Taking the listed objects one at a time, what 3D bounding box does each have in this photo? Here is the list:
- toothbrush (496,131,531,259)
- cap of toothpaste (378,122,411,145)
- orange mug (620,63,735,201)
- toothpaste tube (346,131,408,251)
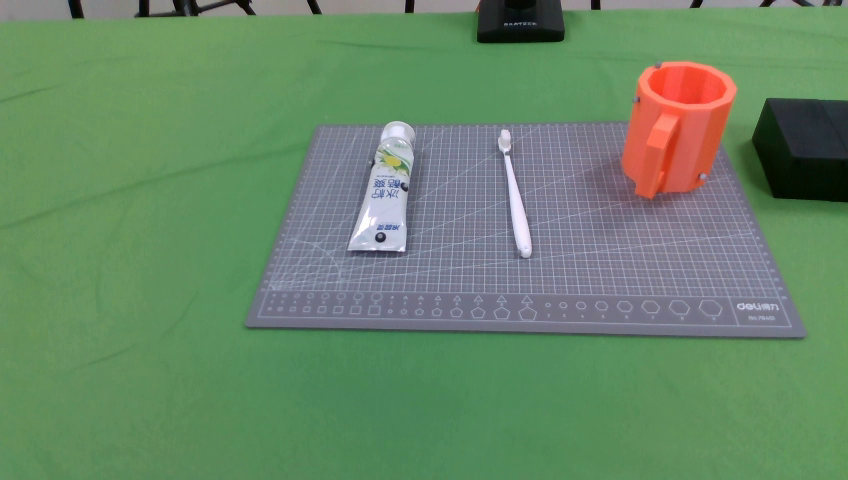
[{"bbox_3d":[0.089,-0.051,0.600,0.014,0.017,0.180,6,45,-8],"label":"toothbrush"},{"bbox_3d":[-0.032,-0.111,0.654,0.037,0.038,0.011,4,51,8],"label":"cap of toothpaste"},{"bbox_3d":[0.234,-0.098,0.579,0.083,0.102,0.126,22,46,25],"label":"orange mug"},{"bbox_3d":[-0.040,-0.053,0.605,0.055,0.035,0.163,-3,49,9],"label":"toothpaste tube"}]
